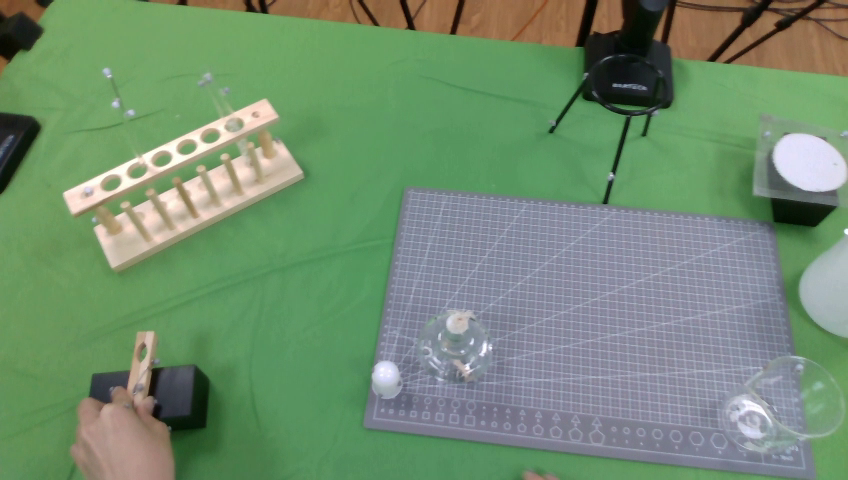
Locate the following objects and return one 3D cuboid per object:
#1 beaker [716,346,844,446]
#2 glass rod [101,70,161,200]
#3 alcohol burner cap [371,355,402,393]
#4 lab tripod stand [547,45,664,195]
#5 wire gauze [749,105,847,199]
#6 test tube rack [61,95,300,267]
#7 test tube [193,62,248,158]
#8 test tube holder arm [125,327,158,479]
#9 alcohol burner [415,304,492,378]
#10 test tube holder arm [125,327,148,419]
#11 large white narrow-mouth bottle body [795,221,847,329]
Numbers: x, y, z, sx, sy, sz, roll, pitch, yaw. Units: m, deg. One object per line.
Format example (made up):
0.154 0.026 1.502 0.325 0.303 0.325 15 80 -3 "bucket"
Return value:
0.330 0.153 0.578 0.084 0.101 0.073 11 62 7 "beaker"
-0.310 -0.099 0.651 0.008 0.201 0.008 3 53 -3 "glass rod"
-0.040 0.135 0.620 0.034 0.048 0.033 -1 61 1 "alcohol burner cap"
0.224 -0.149 0.726 0.148 0.132 0.147 1 63 -1 "lab tripod stand"
0.449 -0.103 0.716 0.121 0.011 0.124 13 62 7 "wire gauze"
-0.274 -0.070 0.710 0.242 0.086 0.066 -30 66 -15 "test tube rack"
-0.227 -0.143 0.694 0.017 0.151 0.017 -2 60 4 "test tube"
-0.266 0.168 0.566 0.013 0.015 0.177 -6 64 1 "test tube holder arm"
0.031 0.094 0.602 0.078 0.120 0.077 1 60 -1 "alcohol burner"
-0.275 0.128 0.586 0.010 0.015 0.087 -5 64 1 "test tube holder arm"
0.466 0.012 0.603 0.102 0.196 0.101 0 61 1 "large white narrow-mouth bottle body"
